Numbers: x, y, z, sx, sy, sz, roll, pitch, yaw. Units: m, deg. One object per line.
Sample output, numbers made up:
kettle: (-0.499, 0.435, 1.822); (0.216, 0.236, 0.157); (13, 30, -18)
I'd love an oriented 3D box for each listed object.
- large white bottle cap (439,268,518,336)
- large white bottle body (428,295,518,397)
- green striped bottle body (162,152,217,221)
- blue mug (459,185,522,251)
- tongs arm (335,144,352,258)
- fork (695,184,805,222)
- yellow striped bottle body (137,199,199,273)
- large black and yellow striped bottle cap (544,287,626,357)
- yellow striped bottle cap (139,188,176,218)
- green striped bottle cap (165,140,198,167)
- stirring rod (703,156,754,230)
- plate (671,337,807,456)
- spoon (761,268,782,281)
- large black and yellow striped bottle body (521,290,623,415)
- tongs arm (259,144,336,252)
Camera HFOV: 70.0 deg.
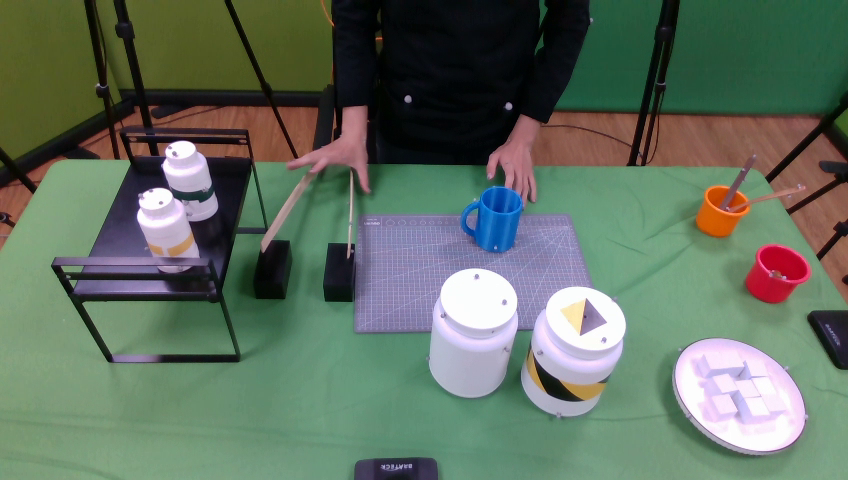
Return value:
large white bottle cap: (0.080, 0.089, 0.888); (0.115, 0.018, 0.114); (2, 47, -2)
large white bottle body: (0.076, 0.147, 0.950); (0.131, 0.185, 0.130); (2, 46, -2)
green striped bottle body: (-0.363, -0.092, 0.939); (0.063, 0.120, 0.063); (2, 46, -2)
blue mug: (0.127, -0.042, 1.185); (0.116, 0.106, 0.082); (0, 47, -4)
tongs arm: (-0.170, -0.092, 1.234); (0.051, 0.026, 0.382); (0, 37, -3)
fork: (0.657, -0.075, 1.230); (0.207, 0.019, 0.028); (-23, 34, 37)
yellow striped bottle body: (-0.366, -0.014, 0.864); (0.063, 0.121, 0.062); (2, 46, -2)
large black and yellow striped bottle cap: (0.232, 0.116, 0.876); (0.115, 0.019, 0.114); (1, 45, -1)
yellow striped bottle cap: (-0.364, -0.051, 0.827); (0.044, 0.019, 0.044); (1, 47, -1)
green striped bottle cap: (-0.361, -0.129, 0.902); (0.044, 0.020, 0.044); (3, 47, -3)
stirring rod: (0.631, -0.097, 1.258); (0.014, 0.006, 0.176); (33, 95, 29)
plate: (0.503, 0.254, 0.984); (0.208, 0.039, 0.206); (2, 46, -2)
spoon: (0.638, 0.060, 1.105); (0.041, 0.021, 0.194); (38, 11, 24)
large black and yellow striped bottle body: (0.228, 0.173, 0.938); (0.131, 0.185, 0.130); (2, 47, -2)
tongs arm: (-0.252, -0.098, 1.233); (0.028, 0.028, 0.385); (5, 36, 10)
